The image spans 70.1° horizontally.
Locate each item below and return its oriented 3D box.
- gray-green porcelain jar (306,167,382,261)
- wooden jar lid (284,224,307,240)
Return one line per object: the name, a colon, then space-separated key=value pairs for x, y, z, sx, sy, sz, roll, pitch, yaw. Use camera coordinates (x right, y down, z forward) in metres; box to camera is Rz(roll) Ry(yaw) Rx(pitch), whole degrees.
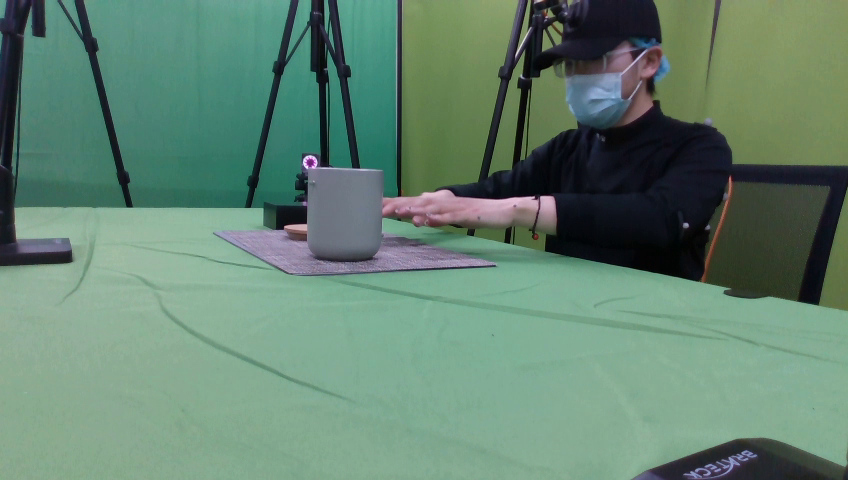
gray-green porcelain jar: x=-0.112 y=-0.039 z=0.849 sx=0.106 sy=0.126 sz=0.106 roll=2 pitch=7 yaw=0
wooden jar lid: x=-0.190 y=-0.014 z=1.057 sx=0.108 sy=0.020 sz=0.108 roll=2 pitch=6 yaw=0
